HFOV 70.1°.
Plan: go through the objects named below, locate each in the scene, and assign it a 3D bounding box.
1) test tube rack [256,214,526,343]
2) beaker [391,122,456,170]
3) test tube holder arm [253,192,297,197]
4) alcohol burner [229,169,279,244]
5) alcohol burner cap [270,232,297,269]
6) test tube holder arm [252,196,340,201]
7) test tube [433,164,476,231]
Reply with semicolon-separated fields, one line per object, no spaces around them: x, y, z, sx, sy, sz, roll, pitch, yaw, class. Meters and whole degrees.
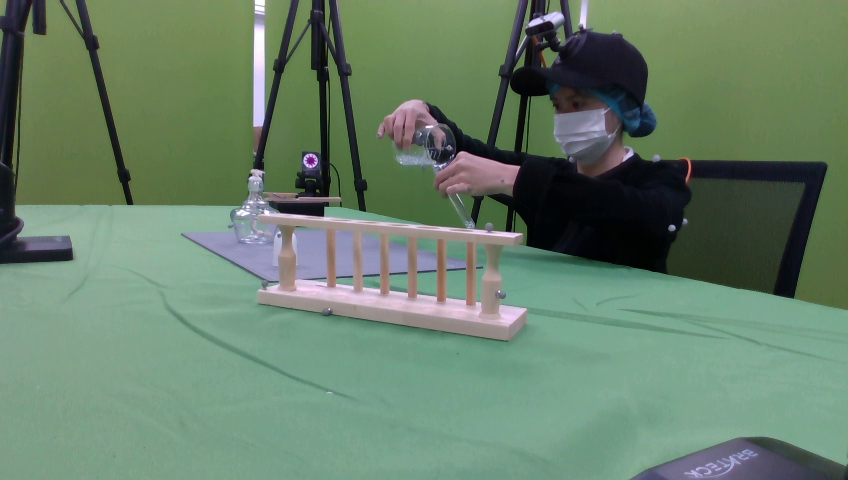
-0.032;0.027;0.547;0.241;0.085;0.067;5;7;22;test tube rack
-0.004;-0.166;1.080;0.074;0.084;0.100;11;-3;-43;beaker
-0.301;-0.092;1.223;0.088;0.010;0.015;0;7;-25;test tube holder arm
-0.268;-0.053;0.958;0.078;0.119;0.078;2;6;0;alcohol burner
-0.175;0.012;0.760;0.034;0.048;0.034;2;7;0;alcohol burner cap
-0.260;-0.086;1.242;0.179;0.013;0.015;-1;7;-25;test tube holder arm
0.049;-0.071;1.004;0.017;0.017;0.149;-2;48;-32;test tube
